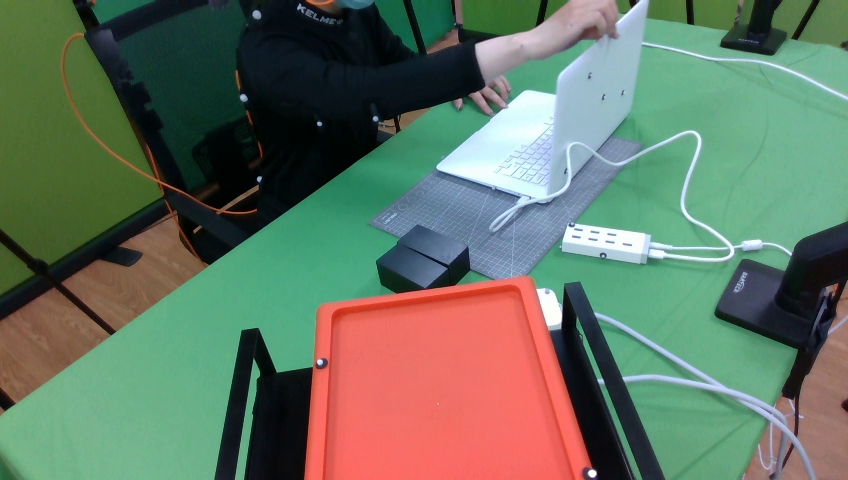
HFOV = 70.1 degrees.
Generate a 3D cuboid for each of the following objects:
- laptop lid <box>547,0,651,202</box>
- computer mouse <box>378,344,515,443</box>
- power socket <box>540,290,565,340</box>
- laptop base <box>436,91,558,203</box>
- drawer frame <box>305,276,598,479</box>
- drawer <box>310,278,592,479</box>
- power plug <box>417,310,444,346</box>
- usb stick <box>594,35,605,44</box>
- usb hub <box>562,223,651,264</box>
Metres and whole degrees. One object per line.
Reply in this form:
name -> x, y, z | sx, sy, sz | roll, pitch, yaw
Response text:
laptop lid -> 0.303, -0.244, 1.033 | 0.013, 0.242, 0.357 | 24, 47, 28
computer mouse -> 0.018, 0.126, 0.521 | 0.116, 0.041, 0.063 | 13, 47, 30
power socket -> 0.081, 0.112, 0.822 | 0.227, 0.033, 0.072 | -7, 41, 0
laptop base -> 0.215, -0.192, 1.172 | 0.233, 0.023, 0.355 | 19, 46, 32
drawer frame -> 0.014, 0.137, 0.486 | 0.202, 0.083, 0.212 | -8, 41, -1
drawer -> 0.013, 0.137, 0.489 | 0.195, 0.073, 0.210 | -7, 41, 0
power plug -> 0.007, 0.123, 0.785 | 0.035, 0.053, 0.072 | 0, 39, 7
usb stick -> 0.443, -0.482, 1.466 | 0.059, 0.021, 0.027 | 10, 43, 10
usb hub -> 0.279, 0.004, 0.925 | 0.124, 0.025, 0.049 | 10, 43, 19
